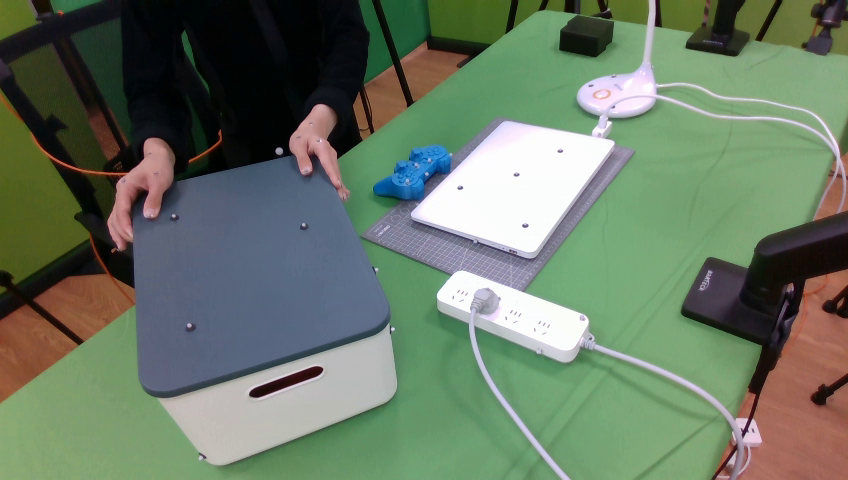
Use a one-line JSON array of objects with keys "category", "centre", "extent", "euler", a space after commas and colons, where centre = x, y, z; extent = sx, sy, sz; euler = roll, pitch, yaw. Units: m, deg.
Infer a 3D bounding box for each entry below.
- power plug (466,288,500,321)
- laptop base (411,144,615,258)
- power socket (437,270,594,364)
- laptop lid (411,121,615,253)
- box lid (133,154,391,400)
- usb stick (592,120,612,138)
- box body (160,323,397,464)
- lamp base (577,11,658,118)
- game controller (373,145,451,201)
[{"category": "power plug", "centre": [0.072, 0.093, 0.813], "extent": [0.035, 0.053, 0.073], "euler": [30, 54, 35]}, {"category": "laptop base", "centre": [0.167, -0.102, 1.074], "extent": [0.234, 0.023, 0.355], "euler": [16, 45, 30]}, {"category": "power socket", "centre": [0.118, 0.102, 0.830], "extent": [0.225, 0.033, 0.072], "euler": [20, 48, 28]}, {"category": "laptop lid", "centre": [0.164, -0.112, 1.068], "extent": [0.240, 0.013, 0.357], "euler": [19, 46, 31]}, {"category": "box lid", "centre": [-0.214, 0.017, 0.742], "extent": [0.264, 0.015, 0.368], "euler": [-16, 43, -15]}, {"category": "usb stick", "centre": [0.335, -0.203, 1.148], "extent": [0.021, 0.027, 0.059], "euler": [25, 52, 26]}, {"category": "box body", "centre": [-0.205, 0.080, 0.802], "extent": [0.255, 0.161, 0.361], "euler": [-19, 42, -12]}, {"category": "lamp base", "centre": [0.406, -0.363, 1.222], "extent": [0.180, 0.181, 0.159], "euler": [-20, 42, -18]}, {"category": "game controller", "centre": [-0.018, -0.130, 1.111], "extent": [0.096, 0.052, 0.155], "euler": [21, 48, 26]}]
